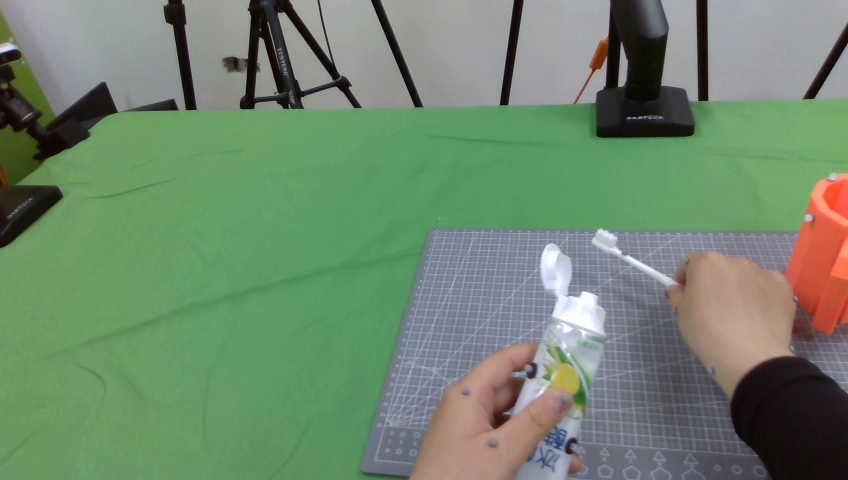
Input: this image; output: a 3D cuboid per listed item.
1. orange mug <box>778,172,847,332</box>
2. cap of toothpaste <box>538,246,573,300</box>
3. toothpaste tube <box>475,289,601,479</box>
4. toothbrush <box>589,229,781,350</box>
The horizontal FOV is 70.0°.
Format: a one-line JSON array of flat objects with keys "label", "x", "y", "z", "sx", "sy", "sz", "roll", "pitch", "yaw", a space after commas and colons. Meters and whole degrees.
[{"label": "orange mug", "x": 0.345, "y": 0.014, "z": 0.496, "sx": 0.083, "sy": 0.102, "sz": 0.126, "roll": 22, "pitch": 43, "yaw": 33}, {"label": "cap of toothpaste", "x": 0.086, "y": 0.021, "z": 0.392, "sx": 0.011, "sy": 0.037, "sz": 0.037, "roll": -7, "pitch": 32, "yaw": 39}, {"label": "toothpaste tube", "x": 0.071, "y": 0.108, "z": 0.372, "sx": 0.055, "sy": 0.035, "sz": 0.165, "roll": 18, "pitch": 85, "yaw": 20}, {"label": "toothbrush", "x": 0.220, "y": 0.039, "z": 0.525, "sx": 0.014, "sy": 0.017, "sz": 0.180, "roll": -21, "pitch": 44, "yaw": -39}]
